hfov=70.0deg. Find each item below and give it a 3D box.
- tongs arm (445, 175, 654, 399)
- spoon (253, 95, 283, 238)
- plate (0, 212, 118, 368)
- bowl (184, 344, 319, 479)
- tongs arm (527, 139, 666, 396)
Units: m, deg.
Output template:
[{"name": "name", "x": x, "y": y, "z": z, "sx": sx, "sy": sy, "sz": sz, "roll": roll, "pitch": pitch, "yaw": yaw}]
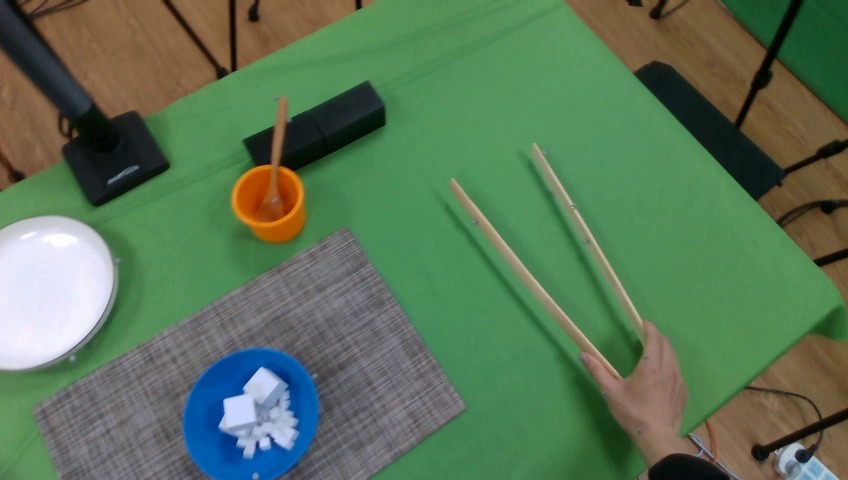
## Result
[{"name": "tongs arm", "x": 0.150, "y": 0.055, "z": 0.795, "sx": 0.028, "sy": 0.028, "sz": 0.385, "roll": -32, "pitch": 71, "yaw": -24}, {"name": "spoon", "x": -0.201, "y": -0.094, "z": 0.802, "sx": 0.041, "sy": 0.195, "sz": 0.021, "roll": 14, "pitch": 24, "yaw": 7}, {"name": "plate", "x": -0.501, "y": 0.065, "z": 0.787, "sx": 0.208, "sy": 0.039, "sz": 0.206, "roll": 1, "pitch": 68, "yaw": -2}, {"name": "bowl", "x": -0.195, "y": 0.205, "z": 0.715, "sx": 0.151, "sy": 0.077, "sz": 0.150, "roll": 1, "pitch": 68, "yaw": -2}, {"name": "tongs arm", "x": 0.217, "y": 0.023, "z": 0.816, "sx": 0.051, "sy": 0.027, "sz": 0.381, "roll": -21, "pitch": 69, "yaw": -17}]
